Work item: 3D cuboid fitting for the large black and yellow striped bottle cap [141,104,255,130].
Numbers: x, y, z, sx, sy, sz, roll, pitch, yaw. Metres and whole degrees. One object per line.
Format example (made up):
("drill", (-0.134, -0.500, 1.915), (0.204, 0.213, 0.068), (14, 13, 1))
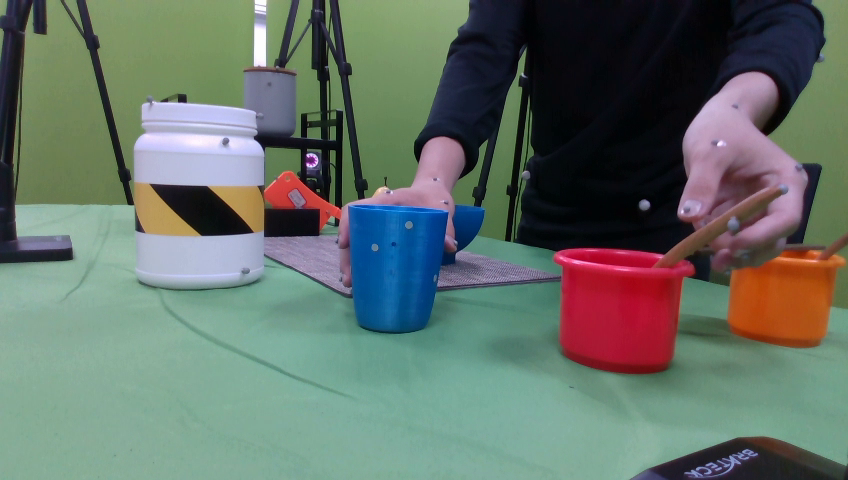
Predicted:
("large black and yellow striped bottle cap", (-0.241, -0.131, 0.650), (0.115, 0.019, 0.115), (3, 8, 0))

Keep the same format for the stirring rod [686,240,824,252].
("stirring rod", (0.290, 0.005, 0.524), (0.177, 0.006, 0.014), (-1, 6, -26))

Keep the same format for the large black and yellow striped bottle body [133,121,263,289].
("large black and yellow striped bottle body", (-0.243, -0.048, 0.659), (0.131, 0.184, 0.130), (2, 7, 0))

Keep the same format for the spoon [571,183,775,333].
("spoon", (0.160, 0.020, 0.413), (0.042, 0.021, 0.193), (0, -36, -23))

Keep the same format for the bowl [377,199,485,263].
("bowl", (0.008, -0.012, 0.842), (0.151, 0.077, 0.151), (2, 8, 0))

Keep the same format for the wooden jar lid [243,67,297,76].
("wooden jar lid", (-0.319, -0.342, 1.254), (0.108, 0.020, 0.108), (3, 8, 0))

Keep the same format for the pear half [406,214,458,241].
("pear half", (0.007, -0.020, 0.847), (0.070, 0.031, 0.088), (1, 9, 40))

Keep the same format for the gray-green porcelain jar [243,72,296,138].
("gray-green porcelain jar", (-0.322, -0.279, 1.263), (0.106, 0.126, 0.106), (3, 8, 0))

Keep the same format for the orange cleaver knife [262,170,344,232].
("orange cleaver knife", (-0.201, -0.056, 1.136), (0.212, 0.077, 0.012), (31, -4, -32))

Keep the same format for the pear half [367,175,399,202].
("pear half", (-0.064, -0.061, 1.077), (0.055, 0.110, 0.077), (9, 13, 39))

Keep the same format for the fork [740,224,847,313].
("fork", (0.323, 0.013, 0.485), (0.028, 0.018, 0.207), (9, -38, -5))

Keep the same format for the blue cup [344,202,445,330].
("blue cup", (-0.027, 0.021, 0.510), (0.093, 0.100, 0.092), (3, 6, 0))
